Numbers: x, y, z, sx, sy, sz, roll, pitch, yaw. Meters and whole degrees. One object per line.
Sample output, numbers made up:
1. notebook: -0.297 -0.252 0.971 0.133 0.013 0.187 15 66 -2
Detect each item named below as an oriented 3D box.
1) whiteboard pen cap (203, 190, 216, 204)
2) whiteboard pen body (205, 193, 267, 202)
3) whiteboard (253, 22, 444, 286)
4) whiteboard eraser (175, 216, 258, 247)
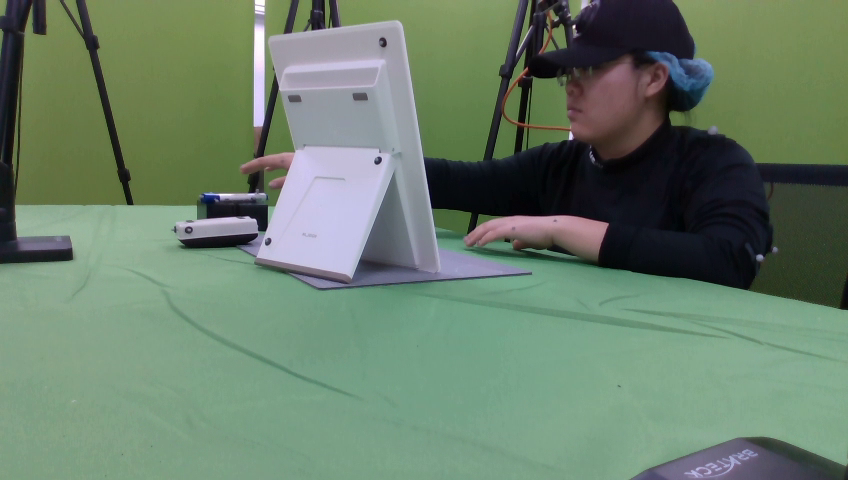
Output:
1. whiteboard pen cap: -0.388 -0.077 1.093 0.018 0.018 0.033 2 25 -6
2. whiteboard pen body: -0.354 -0.081 1.146 0.017 0.017 0.141 7 8 33
3. whiteboard: -0.125 -0.081 0.715 0.216 0.305 0.144 9 29 36
4. whiteboard eraser: -0.314 -0.012 0.915 0.113 0.042 0.055 -5 12 -30
